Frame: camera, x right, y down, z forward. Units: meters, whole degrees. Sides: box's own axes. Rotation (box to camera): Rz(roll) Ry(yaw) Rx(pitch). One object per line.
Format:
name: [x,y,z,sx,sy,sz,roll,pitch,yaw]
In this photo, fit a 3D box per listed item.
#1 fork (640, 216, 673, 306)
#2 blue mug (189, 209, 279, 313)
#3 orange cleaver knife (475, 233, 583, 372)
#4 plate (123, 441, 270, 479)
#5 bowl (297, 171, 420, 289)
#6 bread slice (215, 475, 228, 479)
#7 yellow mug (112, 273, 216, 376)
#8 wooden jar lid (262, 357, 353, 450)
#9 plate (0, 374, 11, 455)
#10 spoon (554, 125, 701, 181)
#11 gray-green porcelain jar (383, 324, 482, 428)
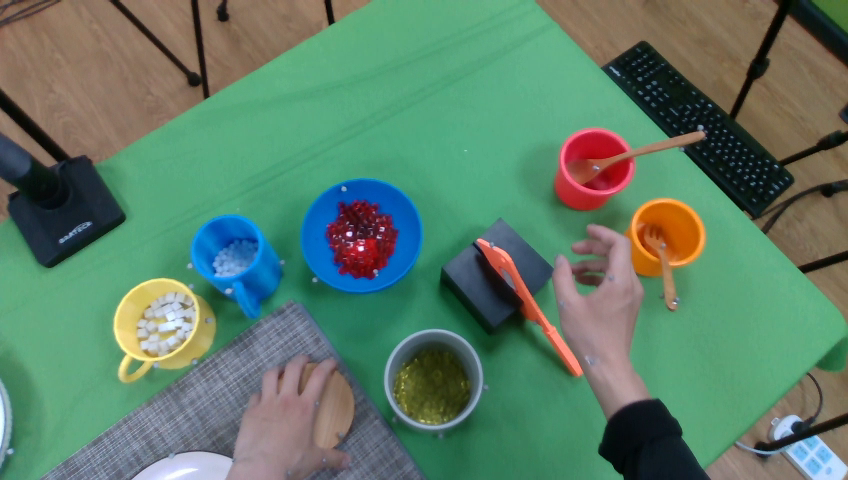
fork: [0.285,0.020,0.737,0.028,0.019,0.206,27,28,0]
blue mug: [-0.226,0.034,0.744,0.082,0.106,0.115,-16,72,-7]
orange cleaver knife: [0.129,0.077,0.749,0.012,0.077,0.212,-39,106,-13]
plate: [-0.255,0.333,0.672,0.209,0.038,0.207,0,71,-1]
bowl: [-0.080,-0.003,0.774,0.151,0.077,0.150,0,72,-1]
bread slice: [-0.267,0.340,0.673,0.132,0.019,0.104,-22,73,-12]
yellow mug: [-0.323,0.109,0.736,0.099,0.064,0.130,29,74,9]
wooden jar lid: [-0.139,0.197,0.732,0.108,0.021,0.107,1,71,-1]
plate: [-0.585,0.222,0.706,0.208,0.039,0.206,1,71,-1]
spoon: [0.257,-0.114,0.784,0.193,0.022,0.041,-16,58,41]
gray-green porcelain jar: [0.008,0.160,0.695,0.106,0.127,0.105,1,71,-1]
